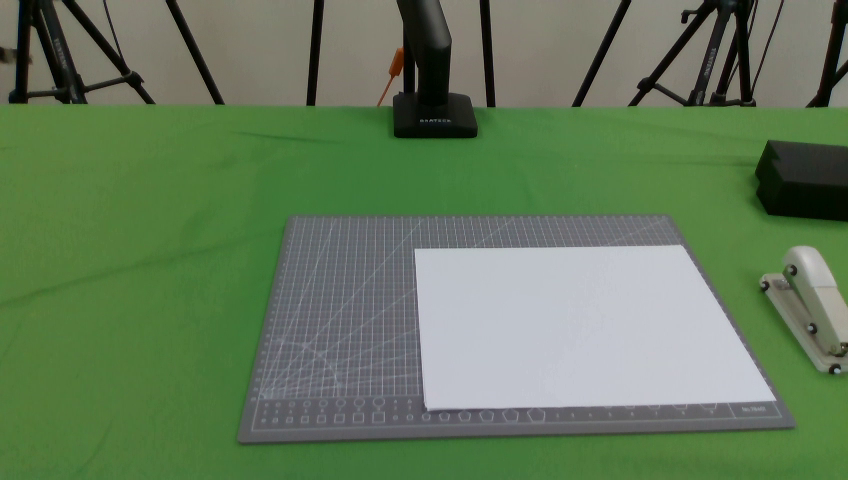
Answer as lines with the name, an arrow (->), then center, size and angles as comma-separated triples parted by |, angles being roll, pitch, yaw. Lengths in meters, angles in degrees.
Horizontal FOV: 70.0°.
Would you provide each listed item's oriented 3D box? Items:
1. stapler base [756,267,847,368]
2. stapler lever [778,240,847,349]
stapler base -> 0.371, 0.066, 0.588 | 0.041, 0.024, 0.129 | -2, 41, -2
stapler lever -> 0.372, 0.047, 0.570 | 0.027, 0.040, 0.117 | -2, 41, -2
